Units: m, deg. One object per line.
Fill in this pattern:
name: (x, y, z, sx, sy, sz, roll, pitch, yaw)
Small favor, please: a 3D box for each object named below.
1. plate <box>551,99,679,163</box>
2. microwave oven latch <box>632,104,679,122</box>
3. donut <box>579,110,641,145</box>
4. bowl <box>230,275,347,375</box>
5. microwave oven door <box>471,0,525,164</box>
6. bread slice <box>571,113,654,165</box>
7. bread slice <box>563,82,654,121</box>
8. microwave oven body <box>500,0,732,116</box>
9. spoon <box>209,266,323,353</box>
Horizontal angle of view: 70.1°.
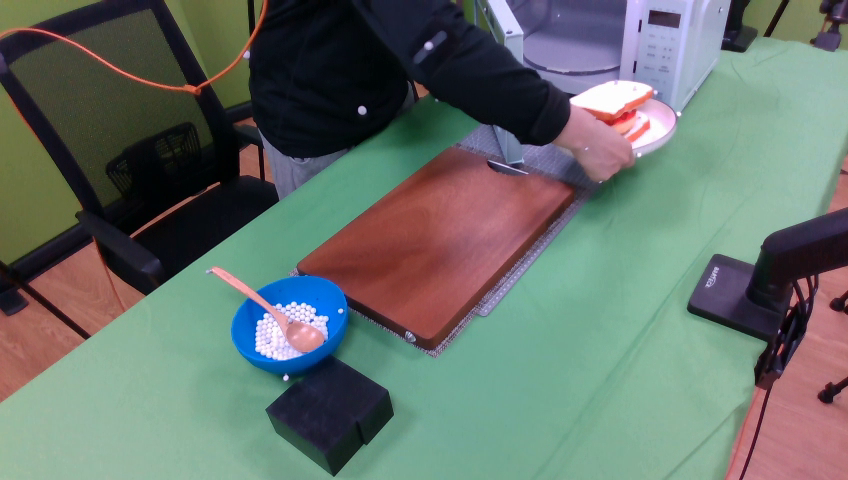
plate: (0.326, -0.187, 1.042, 0.207, 0.039, 0.206, -9, 36, 7)
microwave oven latch: (0.442, -0.248, 1.157, 0.078, 0.029, 0.030, 18, 47, 27)
donut: (0.312, -0.196, 1.014, 0.099, 0.048, 0.098, -8, 42, 8)
bowl: (-0.171, 0.125, 0.802, 0.151, 0.077, 0.150, -4, 40, 4)
microwave oven door: (0.137, -0.342, 1.154, 0.039, 0.245, 0.353, -9, 40, 0)
bread slice: (0.331, -0.180, 1.050, 0.132, 0.019, 0.104, -43, 37, -22)
bread slice: (0.314, -0.234, 1.010, 0.135, 0.018, 0.106, -28, 37, -30)
microwave oven body: (0.377, -0.462, 1.267, 0.438, 0.261, 0.327, 21, 49, 30)
spoon: (-0.213, 0.087, 0.806, 0.193, 0.021, 0.042, 37, 56, 11)
